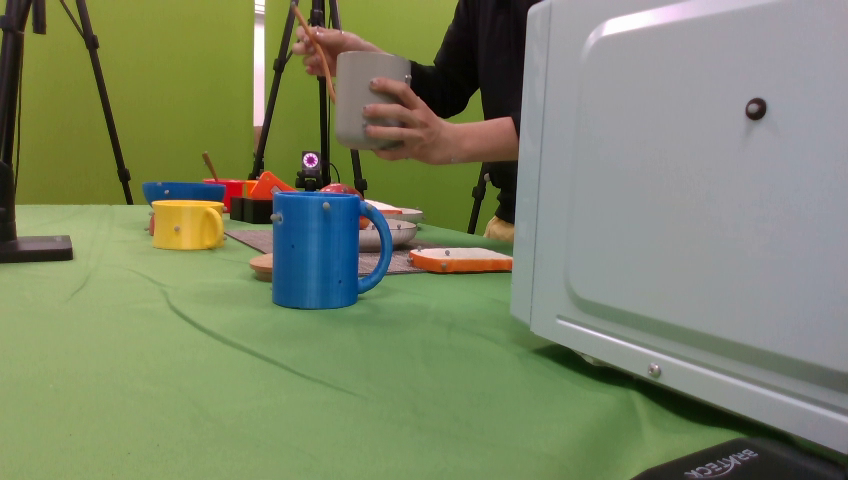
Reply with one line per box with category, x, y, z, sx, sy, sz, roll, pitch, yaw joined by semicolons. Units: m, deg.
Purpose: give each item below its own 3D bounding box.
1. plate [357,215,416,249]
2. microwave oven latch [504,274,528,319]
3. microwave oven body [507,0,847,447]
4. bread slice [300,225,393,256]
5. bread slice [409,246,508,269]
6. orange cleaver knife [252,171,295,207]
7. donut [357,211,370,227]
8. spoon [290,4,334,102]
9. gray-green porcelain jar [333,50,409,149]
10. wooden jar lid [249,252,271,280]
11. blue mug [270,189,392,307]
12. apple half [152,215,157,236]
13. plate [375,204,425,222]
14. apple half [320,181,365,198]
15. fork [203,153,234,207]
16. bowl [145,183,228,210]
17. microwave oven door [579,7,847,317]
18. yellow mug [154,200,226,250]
plate;-0.116;-0.014;0.967;0.208;0.039;0.207;2;7;0
microwave oven latch;0.100;0.041;0.471;0.079;0.029;0.030;-1;7;-27
microwave oven body;0.331;-0.042;0.425;0.444;0.260;0.324;-2;8;-31
bread slice;-0.117;-0.001;0.970;0.106;0.018;0.135;3;17;40
bread slice;0.047;0.022;0.816;0.132;0.019;0.104;0;7;-24
orange cleaver knife;-0.283;-0.087;1.343;0.212;0.077;0.012;24;-16;-41
donut;-0.132;-0.042;0.959;0.099;0.048;0.099;3;7;0
spoon;-0.167;-0.292;0.981;0.021;0.194;0.041;-23;8;5
gray-green porcelain jar;-0.075;-0.196;0.863;0.106;0.126;0.106;2;6;0
wooden jar lid;-0.148;0.028;0.708;0.108;0.020;0.108;-1;10;0
blue mug;-0.090;0.005;0.588;0.117;0.106;0.082;1;7;-11
apple half;-0.415;-0.034;1.017;0.081;0.053;0.074;1;10;-9
plate;-0.102;-0.053;1.299;0.209;0.038;0.209;2;8;0
apple half;-0.130;-0.077;0.952;0.081;0.033;0.081;3;14;0
fork;-0.480;-0.134;1.411;0.028;0.018;0.207;1;-35;0
bowl;-0.459;-0.069;1.175;0.151;0.077;0.151;3;7;0
microwave oven door;0.294;-0.067;0.570;0.358;0.243;0.039;-3;9;-31
yellow mug;-0.337;-0.023;0.899;0.130;0.064;0.100;8;9;34
